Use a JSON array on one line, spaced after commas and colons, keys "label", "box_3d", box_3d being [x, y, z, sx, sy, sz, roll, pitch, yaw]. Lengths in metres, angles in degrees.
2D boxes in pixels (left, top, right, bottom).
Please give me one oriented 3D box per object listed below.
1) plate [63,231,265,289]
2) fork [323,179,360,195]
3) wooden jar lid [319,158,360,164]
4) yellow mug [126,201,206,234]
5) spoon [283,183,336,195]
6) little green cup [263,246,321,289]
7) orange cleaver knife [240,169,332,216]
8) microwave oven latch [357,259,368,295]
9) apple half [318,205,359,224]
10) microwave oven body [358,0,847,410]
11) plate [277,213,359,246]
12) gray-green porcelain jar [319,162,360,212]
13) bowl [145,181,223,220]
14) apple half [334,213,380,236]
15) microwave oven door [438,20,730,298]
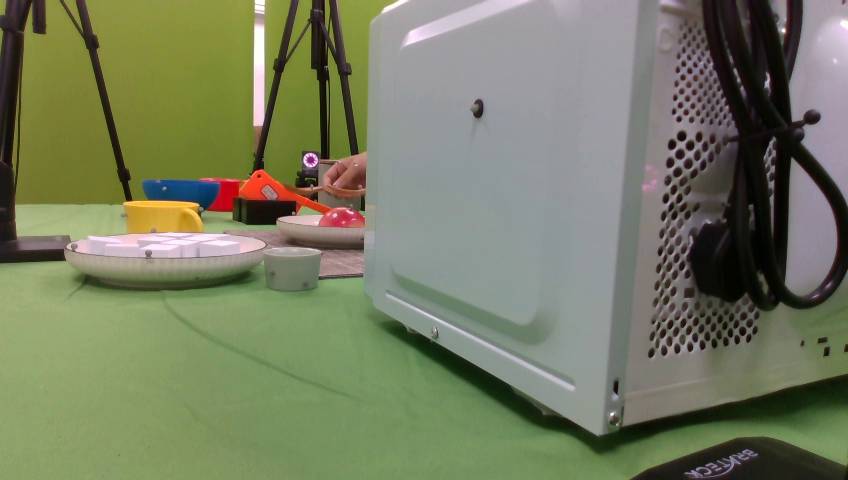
[{"label": "plate", "box_3d": [-0.288, 0.021, 0.687, 0.208, 0.039, 0.207, 2, 8, 0]}, {"label": "fork", "box_3d": [-0.057, -0.082, 0.938, 0.208, 0.028, 0.018, -3, 50, -35]}, {"label": "wooden jar lid", "box_3d": [-0.203, -0.189, 1.482, 0.108, 0.020, 0.108, 2, 10, 0]}, {"label": "yellow mug", "box_3d": [-0.360, -0.019, 0.866, 0.130, 0.064, 0.100, 6, 9, 27]}, {"label": "spoon", "box_3d": [-0.178, -0.096, 1.143, 0.195, 0.021, 0.041, -5, 11, -42]}, {"label": "little green cup", "box_3d": [-0.142, 0.029, 0.649, 0.061, 0.038, 0.061, 4, 7, 0]}, {"label": "orange cleaver knife", "box_3d": [-0.286, -0.082, 1.298, 0.212, 0.077, 0.012, 25, -2, -31]}, {"label": "microwave oven latch", "box_3d": [-0.019, 0.031, 0.529, 0.079, 0.029, 0.030, -1, 7, -26]}, {"label": "apple half", "box_3d": [-0.126, -0.028, 0.954, 0.081, 0.053, 0.074, -1, 10, -33]}, {"label": "microwave oven body", "box_3d": [0.210, -0.051, 0.471, 0.444, 0.260, 0.324, -1, 7, -28]}, {"label": "plate", "box_3d": [-0.135, -0.018, 0.993, 0.209, 0.038, 0.209, 2, 7, 0]}, {"label": "gray-green porcelain jar", "box_3d": [-0.204, -0.126, 1.489, 0.106, 0.126, 0.106, 2, 7, 0]}, {"label": "bowl", "box_3d": [-0.499, -0.081, 1.261, 0.151, 0.077, 0.151, 2, 7, 0]}, {"label": "apple half", "box_3d": [-0.112, -0.029, 1.034, 0.081, 0.033, 0.081, 1, 10, 0]}, {"label": "microwave oven door", "box_3d": [0.181, -0.076, 0.618, 0.358, 0.243, 0.039, -2, 8, -28]}]
